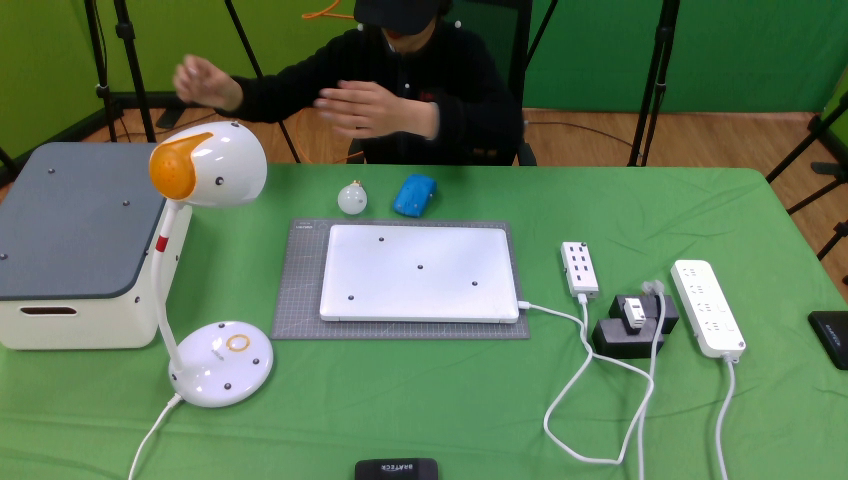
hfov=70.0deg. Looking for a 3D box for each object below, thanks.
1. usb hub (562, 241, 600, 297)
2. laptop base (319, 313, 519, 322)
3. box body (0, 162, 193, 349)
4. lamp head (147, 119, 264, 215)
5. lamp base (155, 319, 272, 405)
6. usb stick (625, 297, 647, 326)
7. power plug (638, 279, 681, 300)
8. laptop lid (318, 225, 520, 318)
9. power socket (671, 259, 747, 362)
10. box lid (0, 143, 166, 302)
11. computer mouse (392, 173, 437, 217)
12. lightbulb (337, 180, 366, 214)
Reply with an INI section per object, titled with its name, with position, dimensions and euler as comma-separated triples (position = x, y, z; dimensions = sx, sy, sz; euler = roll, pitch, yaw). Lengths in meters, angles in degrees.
[usb hub]
position = 0.300, 0.055, 1.162
dimensions = 0.049, 0.025, 0.124
euler = 2, 46, -3
[laptop base]
position = -0.009, 0.063, 1.137
dimensions = 0.354, 0.023, 0.234
euler = 1, 42, -3
[box body]
position = -0.570, 0.006, 1.054
dimensions = 0.254, 0.161, 0.361
euler = -1, 46, -4
[lamp head]
position = -0.276, -0.087, 0.740
dimensions = 0.112, 0.112, 0.123
euler = 20, 23, 15
[lamp base]
position = -0.330, 0.149, 0.918
dimensions = 0.160, 0.181, 0.179
euler = 26, 52, 20
[usb stick]
position = 0.360, 0.116, 1.034
dimensions = 0.021, 0.027, 0.059
euler = -2, 44, -2
[power plug]
position = 0.434, 0.099, 1.119
dimensions = 0.073, 0.053, 0.035
euler = 34, 38, -15
[laptop lid]
position = -0.009, 0.052, 1.131
dimensions = 0.357, 0.013, 0.240
euler = 2, 43, -2
[power socket]
position = 0.516, 0.119, 1.108
dimensions = 0.072, 0.033, 0.225
euler = 1, 46, -2
[box lid]
position = -0.567, -0.045, 0.999
dimensions = 0.263, 0.015, 0.369
euler = -1, 45, -4
[computer mouse]
position = -0.018, -0.099, 1.282
dimensions = 0.062, 0.041, 0.117
euler = 20, 52, 12
[lightbulb]
position = -0.147, -0.094, 1.261
dimensions = 0.059, 0.060, 0.107
euler = 4, 30, 0
